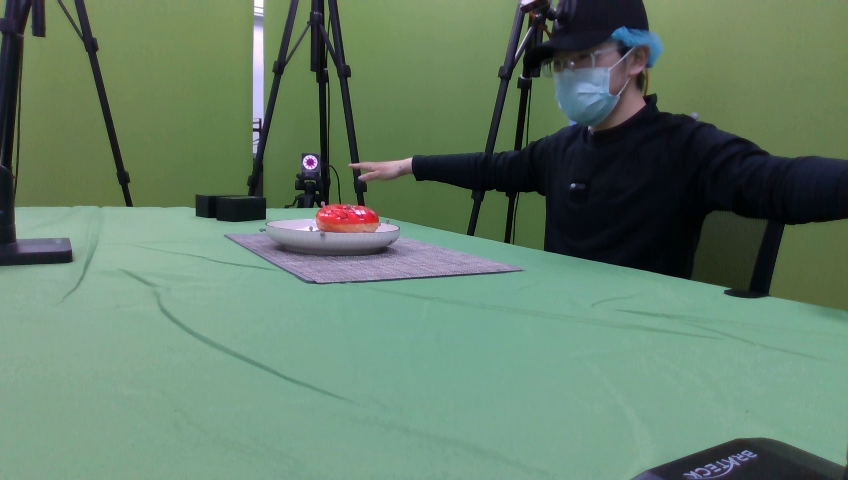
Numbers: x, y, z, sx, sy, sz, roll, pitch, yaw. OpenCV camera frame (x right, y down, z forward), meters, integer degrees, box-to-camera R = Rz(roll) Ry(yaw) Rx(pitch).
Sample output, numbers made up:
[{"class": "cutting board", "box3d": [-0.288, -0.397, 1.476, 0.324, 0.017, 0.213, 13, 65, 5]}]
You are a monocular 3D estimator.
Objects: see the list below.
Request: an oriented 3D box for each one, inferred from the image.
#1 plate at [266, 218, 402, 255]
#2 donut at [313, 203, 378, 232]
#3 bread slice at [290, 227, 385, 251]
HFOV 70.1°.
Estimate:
[{"class": "plate", "box3d": [-0.138, -0.006, 0.941, 0.208, 0.039, 0.207, 2, 7, 0]}, {"class": "donut", "box3d": [-0.118, -0.030, 0.915, 0.099, 0.048, 0.099, 5, 9, 0]}, {"class": "bread slice", "box3d": [-0.143, -0.004, 0.939, 0.131, 0.019, 0.105, 9, 9, 33]}]
